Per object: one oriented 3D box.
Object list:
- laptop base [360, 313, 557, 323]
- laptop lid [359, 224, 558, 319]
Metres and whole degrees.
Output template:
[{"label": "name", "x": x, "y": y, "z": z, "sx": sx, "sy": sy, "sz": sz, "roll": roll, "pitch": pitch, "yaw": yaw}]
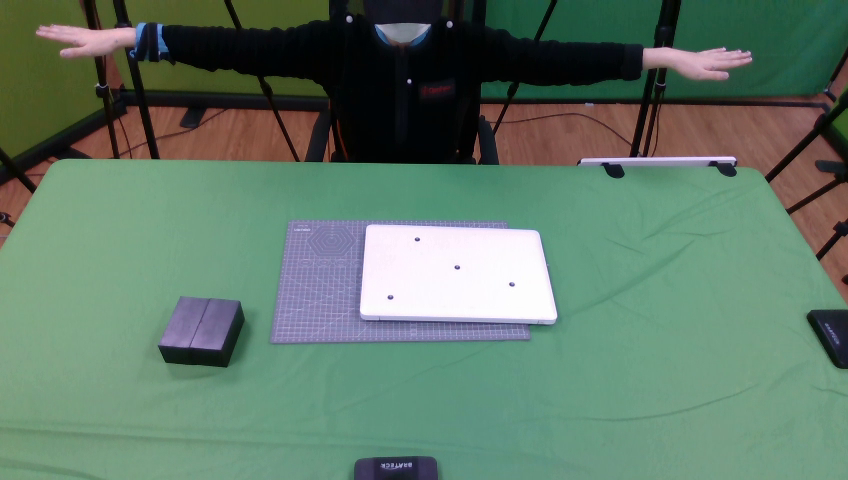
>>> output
[{"label": "laptop base", "x": 0.061, "y": 0.063, "z": 1.145, "sx": 0.355, "sy": 0.023, "sz": 0.234, "roll": 2, "pitch": 43, "yaw": -3}, {"label": "laptop lid", "x": 0.061, "y": 0.053, "z": 1.137, "sx": 0.357, "sy": 0.013, "sz": 0.240, "roll": 3, "pitch": 44, "yaw": -2}]
